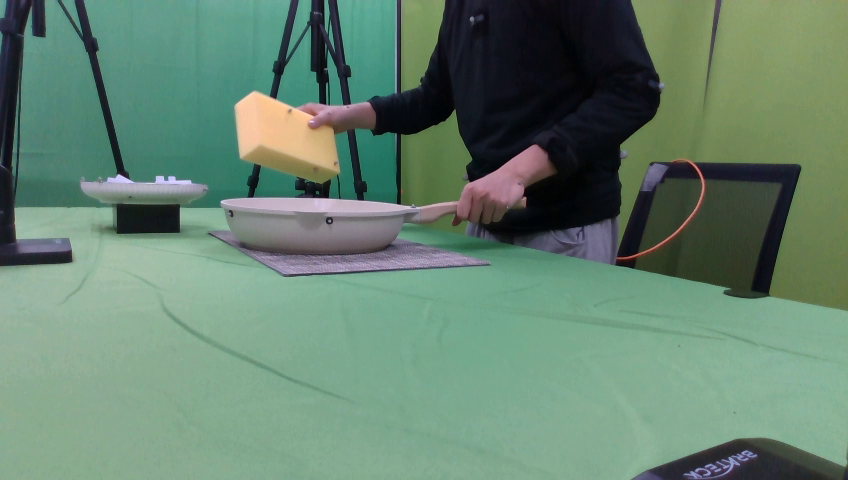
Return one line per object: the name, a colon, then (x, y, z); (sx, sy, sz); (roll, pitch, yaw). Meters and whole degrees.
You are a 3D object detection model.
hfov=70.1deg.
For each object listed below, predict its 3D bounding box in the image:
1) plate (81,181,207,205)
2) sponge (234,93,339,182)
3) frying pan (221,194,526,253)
plate: (-0.505, -0.086, 1.100); (0.208, 0.039, 0.207); (2, 6, 0)
sponge: (-0.272, -0.200, 1.215); (0.060, 0.118, 0.208); (-26, -23, 32)
frying pan: (-0.070, -0.043, 0.984); (0.489, 0.102, 0.306); (-7, 9, -5)
